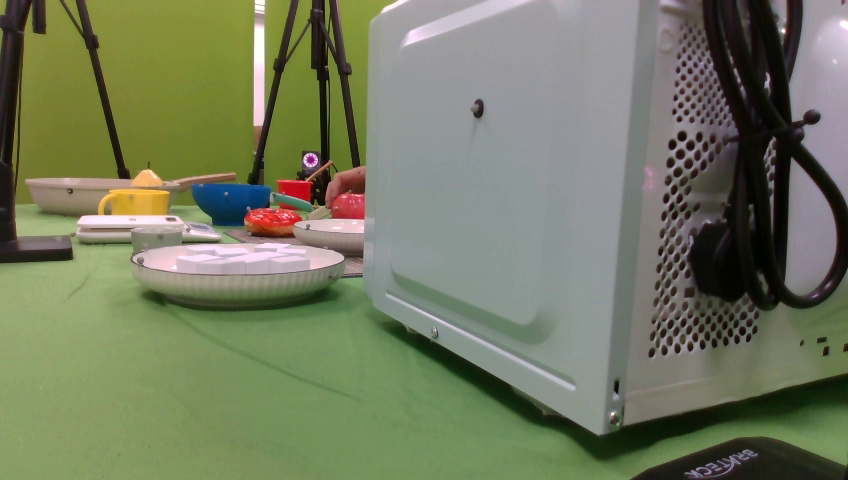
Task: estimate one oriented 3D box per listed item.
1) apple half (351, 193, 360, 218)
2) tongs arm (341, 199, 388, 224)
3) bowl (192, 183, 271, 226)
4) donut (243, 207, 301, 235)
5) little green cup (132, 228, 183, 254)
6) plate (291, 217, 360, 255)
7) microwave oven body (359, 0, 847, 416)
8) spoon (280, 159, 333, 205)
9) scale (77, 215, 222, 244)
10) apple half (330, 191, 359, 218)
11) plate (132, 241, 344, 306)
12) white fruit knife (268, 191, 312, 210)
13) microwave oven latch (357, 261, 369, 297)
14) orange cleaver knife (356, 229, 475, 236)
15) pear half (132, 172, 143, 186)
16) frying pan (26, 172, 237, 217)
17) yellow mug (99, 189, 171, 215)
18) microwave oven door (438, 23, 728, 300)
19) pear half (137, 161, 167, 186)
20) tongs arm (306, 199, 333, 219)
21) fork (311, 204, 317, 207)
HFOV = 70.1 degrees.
[{"bbox_3d":[-0.110,-0.054,1.135,0.033,0.081,0.081,-2,7,13],"label":"apple half"},{"bbox_3d":[-0.148,-0.071,1.429,0.051,0.026,0.383,-2,8,-15],"label":"tongs arm"},{"bbox_3d":[-0.382,-0.071,1.202,0.151,0.077,0.151,3,7,0],"label":"bowl"},{"bbox_3d":[-0.261,-0.032,1.043,0.099,0.048,0.099,4,9,0],"label":"donut"},{"bbox_3d":[-0.342,0.006,0.779,0.061,0.038,0.061,2,8,0],"label":"little green cup"},{"bbox_3d":[-0.098,-0.007,0.928,0.209,0.038,0.209,2,8,0],"label":"plate"},{"bbox_3d":[0.211,-0.047,0.474,0.444,0.260,0.324,-1,7,-28],"label":"microwave oven body"},{"bbox_3d":[-0.316,-0.159,1.640,0.194,0.022,0.041,-50,32,-20],"label":"spoon"},{"bbox_3d":[-0.434,-0.019,0.963,0.202,0.031,0.148,-1,9,-27],"label":"scale"},{"bbox_3d":[-0.149,-0.055,1.141,0.053,0.074,0.081,0,11,11],"label":"apple half"},{"bbox_3d":[-0.187,0.033,0.625,0.208,0.039,0.207,2,7,0],"label":"plate"},{"bbox_3d":[-0.364,-0.105,1.464,0.208,0.027,0.016,15,0,-34],"label":"white fruit knife"},{"bbox_3d":[-0.019,0.033,0.530,0.079,0.029,0.030,-1,7,-26],"label":"microwave oven latch"},{"bbox_3d":[-0.017,-0.014,1.081,0.211,0.012,0.077,0,2,-3],"label":"orange cleaver knife"},{"bbox_3d":[-0.638,-0.113,1.361,0.031,0.088,0.070,5,11,4],"label":"pear half"},{"bbox_3d":[-0.624,-0.118,1.387,0.305,0.102,0.490,8,17,32],"label":"frying pan"},{"bbox_3d":[-0.518,-0.055,1.080,0.099,0.064,0.131,7,9,26],"label":"yellow mug"},{"bbox_3d":[0.181,-0.073,0.621,0.358,0.243,0.039,-2,8,-29],"label":"microwave oven door"},{"bbox_3d":[-0.602,-0.120,1.354,0.056,0.110,0.076,4,11,6],"label":"pear half"},{"bbox_3d":[-0.234,-0.072,1.414,0.028,0.028,0.387,-3,7,0],"label":"tongs arm"},{"bbox_3d":[-0.356,-0.105,1.526,0.208,0.018,0.028,16,-6,-41],"label":"fork"}]
